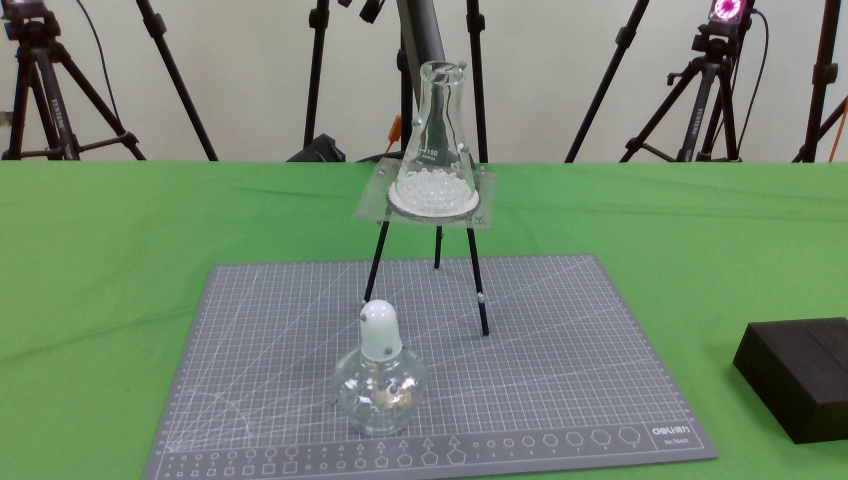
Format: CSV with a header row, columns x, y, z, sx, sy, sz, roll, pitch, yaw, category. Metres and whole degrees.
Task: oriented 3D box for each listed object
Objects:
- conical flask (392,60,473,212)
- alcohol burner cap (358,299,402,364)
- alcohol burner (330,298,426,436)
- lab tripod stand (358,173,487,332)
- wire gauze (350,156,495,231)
x,y,z,sx,sy,sz,roll,pitch,yaw,category
0.011,-0.092,0.532,0.075,0.123,0.074,3,33,-1,conical flask
-0.035,0.067,0.463,0.034,0.048,0.033,-3,36,2,alcohol burner cap
-0.037,0.097,0.484,0.078,0.120,0.077,2,31,-1,alcohol burner
0.008,0.012,0.602,0.148,0.132,0.147,4,32,-2,lab tripod stand
0.004,-0.044,0.567,0.121,0.011,0.124,7,35,6,wire gauze
